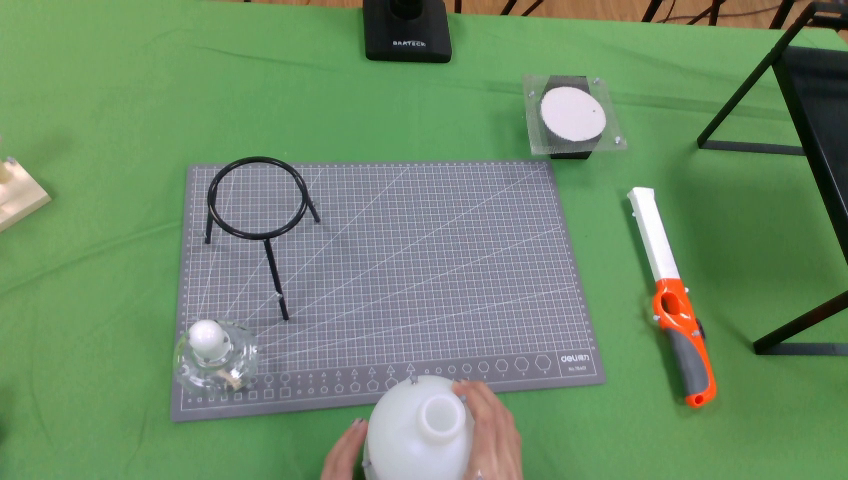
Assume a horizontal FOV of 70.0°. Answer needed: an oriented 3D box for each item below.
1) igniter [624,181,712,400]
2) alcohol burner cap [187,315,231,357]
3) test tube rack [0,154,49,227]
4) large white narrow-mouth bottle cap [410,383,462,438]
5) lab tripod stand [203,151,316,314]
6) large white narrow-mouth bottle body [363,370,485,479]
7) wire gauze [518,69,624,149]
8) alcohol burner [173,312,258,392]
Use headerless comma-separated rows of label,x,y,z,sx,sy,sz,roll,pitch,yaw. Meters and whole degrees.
igniter,0.287,0.051,0.718,0.057,0.025,0.274,3,63,-20
alcohol burner cap,-0.190,0.083,0.531,0.034,0.048,0.033,3,68,-7
test tube rack,-0.513,-0.016,0.589,0.066,0.085,0.242,42,64,13
large white narrow-mouth bottle cap,0.009,0.125,0.444,0.038,0.024,0.037,3,61,-6
lab tripod stand,-0.162,-0.013,0.615,0.149,0.132,0.147,5,63,-9
large white narrow-mouth bottle body,-0.001,0.167,0.517,0.102,0.196,0.101,3,61,-6
wire gauze,0.184,-0.168,0.770,0.122,0.011,0.124,-1,64,-9
alcohol burner,-0.196,0.098,0.564,0.078,0.120,0.077,5,61,-8
